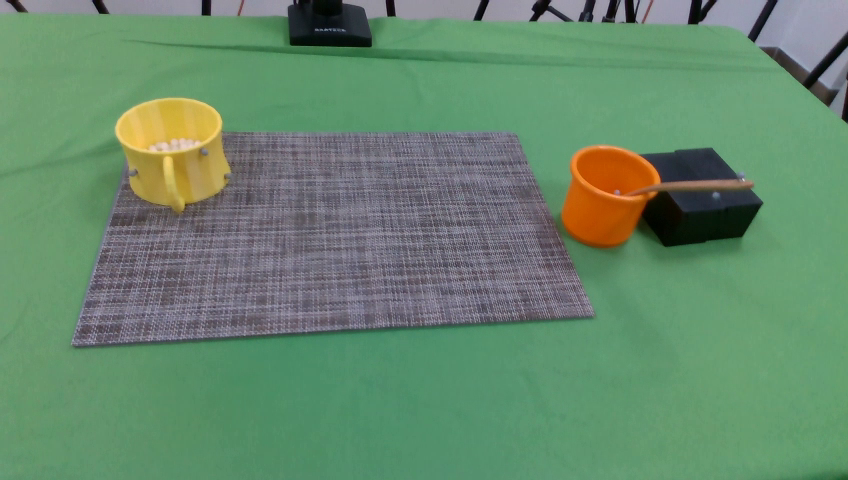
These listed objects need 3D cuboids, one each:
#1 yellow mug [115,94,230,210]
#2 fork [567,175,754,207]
[{"bbox_3d":[-0.251,-0.085,0.612,0.100,0.064,0.129,-7,47,-15],"label":"yellow mug"},{"bbox_3d":[0.219,-0.048,0.590,0.028,0.019,0.206,-26,10,-29],"label":"fork"}]
